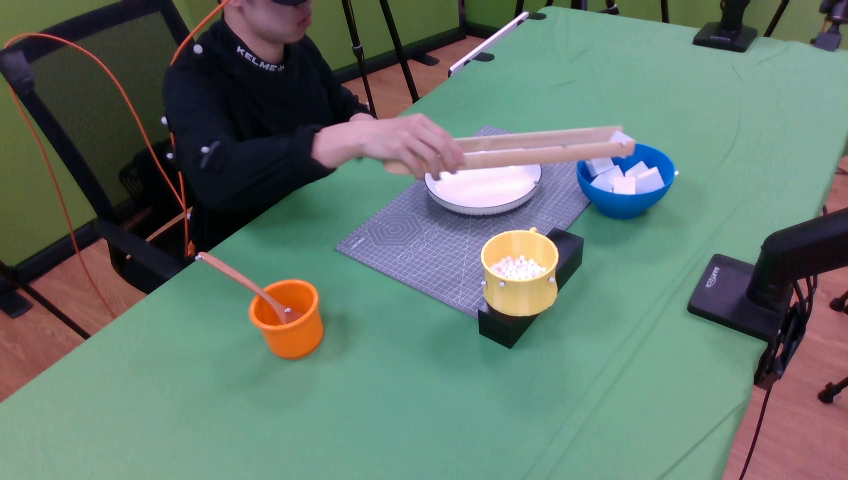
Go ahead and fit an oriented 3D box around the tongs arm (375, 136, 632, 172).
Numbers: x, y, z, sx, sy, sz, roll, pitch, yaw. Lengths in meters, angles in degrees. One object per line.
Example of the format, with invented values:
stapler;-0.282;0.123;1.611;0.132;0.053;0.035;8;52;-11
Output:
tongs arm;0.122;-0.132;0.892;0.386;0.026;0.050;-8;34;-14

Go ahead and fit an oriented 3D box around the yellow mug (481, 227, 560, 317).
yellow mug;0.131;0.032;0.801;0.099;0.064;0.131;12;43;20

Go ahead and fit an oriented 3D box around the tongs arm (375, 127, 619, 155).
tongs arm;0.117;-0.146;0.914;0.389;0.028;0.028;-6;37;-11

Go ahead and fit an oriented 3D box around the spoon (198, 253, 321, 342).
spoon;-0.220;0.075;0.814;0.021;0.194;0.041;-37;18;39

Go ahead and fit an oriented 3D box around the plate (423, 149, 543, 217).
plate;0.103;-0.103;1.059;0.207;0.039;0.206;-4;40;4

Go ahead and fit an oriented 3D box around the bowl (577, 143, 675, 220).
bowl;0.322;-0.086;0.980;0.151;0.077;0.150;-4;40;4
